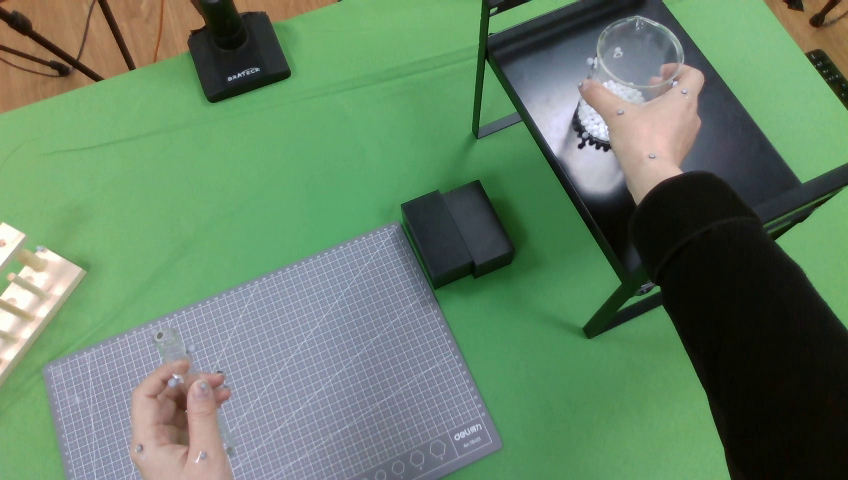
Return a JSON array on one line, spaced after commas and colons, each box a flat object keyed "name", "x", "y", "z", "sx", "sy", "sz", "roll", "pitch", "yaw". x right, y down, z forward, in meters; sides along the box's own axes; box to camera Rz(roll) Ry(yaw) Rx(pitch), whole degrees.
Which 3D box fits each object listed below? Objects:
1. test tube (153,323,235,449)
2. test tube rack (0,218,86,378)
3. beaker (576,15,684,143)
[{"name": "test tube", "x": -0.170, "y": 0.116, "z": 0.458, "sx": 0.017, "sy": 0.151, "sz": 0.017, "roll": -3, "pitch": 42, "yaw": 3}, {"name": "test tube rack", "x": -0.503, "y": 0.103, "z": 0.676, "sx": 0.066, "sy": 0.086, "sz": 0.241, "roll": 27, "pitch": 72, "yaw": 11}, {"name": "beaker", "x": 0.186, "y": -0.146, "z": 0.565, "sx": 0.074, "sy": 0.101, "sz": 0.083, "roll": 8, "pitch": 69, "yaw": 3}]
